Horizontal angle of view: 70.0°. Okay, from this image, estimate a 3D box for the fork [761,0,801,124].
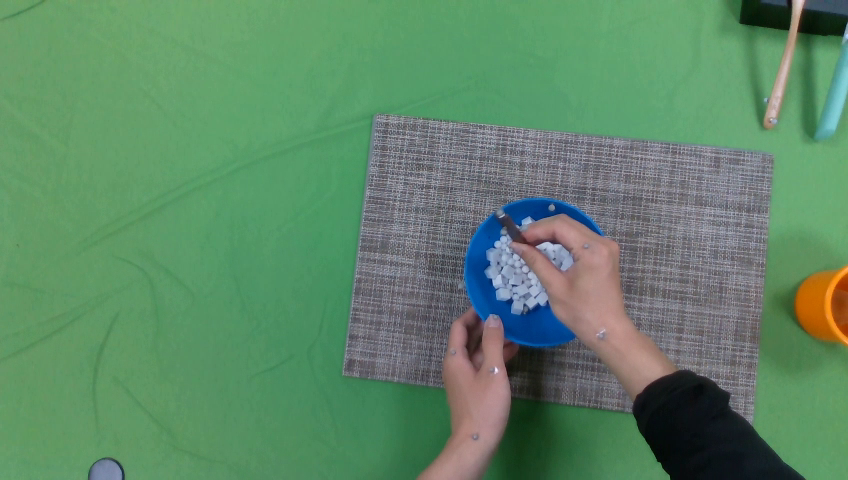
[{"bbox_3d":[0.390,-0.229,0.647,0.028,0.018,0.208,4,106,0],"label":"fork"}]

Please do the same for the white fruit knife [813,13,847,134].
[{"bbox_3d":[0.451,-0.217,0.643,0.016,0.027,0.208,7,103,0],"label":"white fruit knife"}]

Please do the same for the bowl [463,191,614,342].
[{"bbox_3d":[0.115,0.029,0.638,0.151,0.077,0.151,0,86,2],"label":"bowl"}]

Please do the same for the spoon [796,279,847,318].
[{"bbox_3d":[0.476,0.067,0.592,0.022,0.192,0.041,11,86,-42],"label":"spoon"}]

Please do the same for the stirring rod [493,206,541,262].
[{"bbox_3d":[0.092,-0.002,0.580,0.014,0.177,0.006,12,79,23],"label":"stirring rod"}]
